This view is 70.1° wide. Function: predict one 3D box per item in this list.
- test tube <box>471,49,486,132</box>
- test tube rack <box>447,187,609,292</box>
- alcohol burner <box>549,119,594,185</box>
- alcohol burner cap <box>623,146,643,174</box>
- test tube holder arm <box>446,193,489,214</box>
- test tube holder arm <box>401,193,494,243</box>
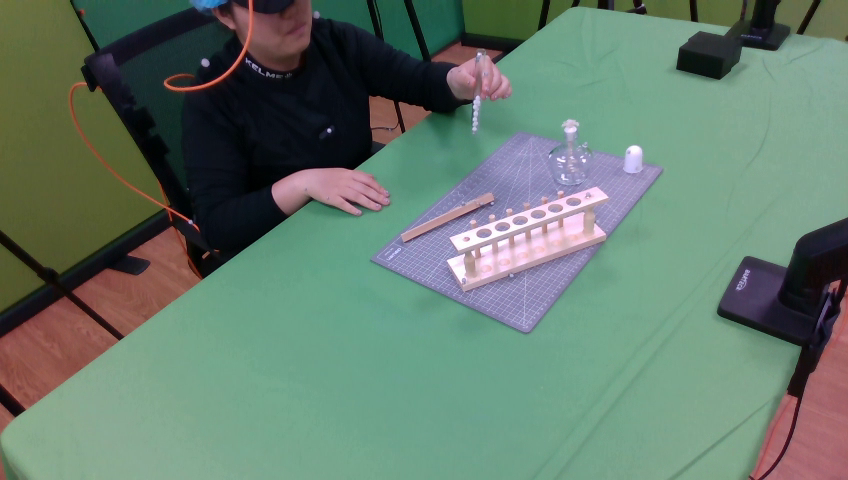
[{"bbox_3d":[0.091,-0.248,1.017,0.017,0.151,0.017,1,44,0],"label":"test tube"},{"bbox_3d":[0.155,-0.011,0.913,0.243,0.085,0.066,-19,41,-11],"label":"test tube rack"},{"bbox_3d":[0.254,-0.155,1.043,0.078,0.120,0.077,-7,40,6],"label":"alcohol burner"},{"bbox_3d":[0.369,-0.143,1.061,0.034,0.048,0.033,-6,41,6],"label":"alcohol burner cap"},{"bbox_3d":[0.078,-0.058,1.037,0.088,0.015,0.010,-26,9,-18],"label":"test tube holder arm"},{"bbox_3d":[0.042,-0.038,1.018,0.179,0.015,0.013,-26,9,-19],"label":"test tube holder arm"}]
